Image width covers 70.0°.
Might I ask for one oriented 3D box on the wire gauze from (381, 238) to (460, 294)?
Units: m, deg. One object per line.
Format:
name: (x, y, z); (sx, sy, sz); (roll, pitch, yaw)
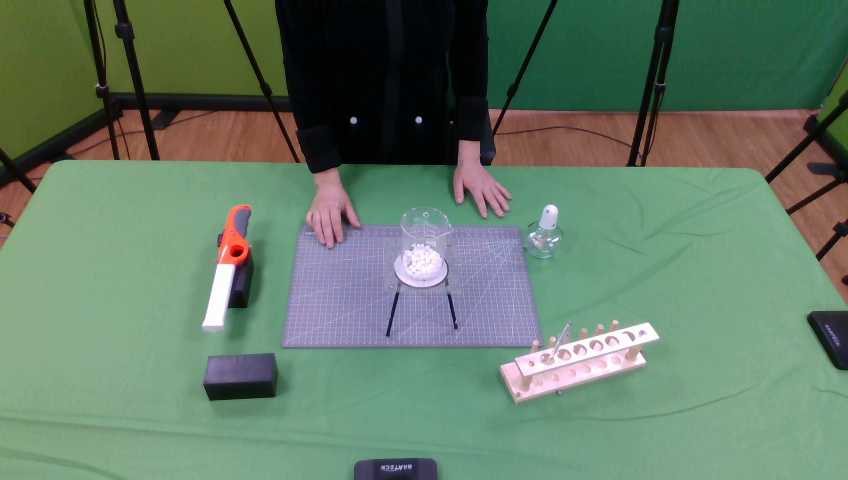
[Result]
wire gauze: (-0.008, 0.042, 0.985); (0.125, 0.011, 0.120); (-1, 43, -2)

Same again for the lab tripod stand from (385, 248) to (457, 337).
lab tripod stand: (-0.010, 0.087, 1.032); (0.148, 0.132, 0.147); (1, 45, -1)

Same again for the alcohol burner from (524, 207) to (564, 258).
alcohol burner: (0.236, -0.021, 1.174); (0.078, 0.120, 0.077); (1, 48, -1)

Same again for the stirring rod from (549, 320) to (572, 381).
stirring rod: (0.202, 0.168, 0.901); (0.006, 0.177, 0.014); (-16, 54, -11)

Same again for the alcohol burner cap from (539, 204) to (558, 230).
alcohol burner cap: (0.238, -0.045, 1.148); (0.034, 0.048, 0.033); (2, 43, -1)

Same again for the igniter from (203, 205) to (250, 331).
igniter: (-0.345, 0.039, 1.065); (0.057, 0.025, 0.274); (2, 49, -6)

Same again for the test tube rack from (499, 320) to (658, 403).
test tube rack: (0.252, 0.187, 0.994); (0.243, 0.085, 0.066); (-12, 48, -15)

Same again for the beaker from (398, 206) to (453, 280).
beaker: (0.000, 0.008, 0.950); (0.084, 0.101, 0.073); (10, 45, 6)
